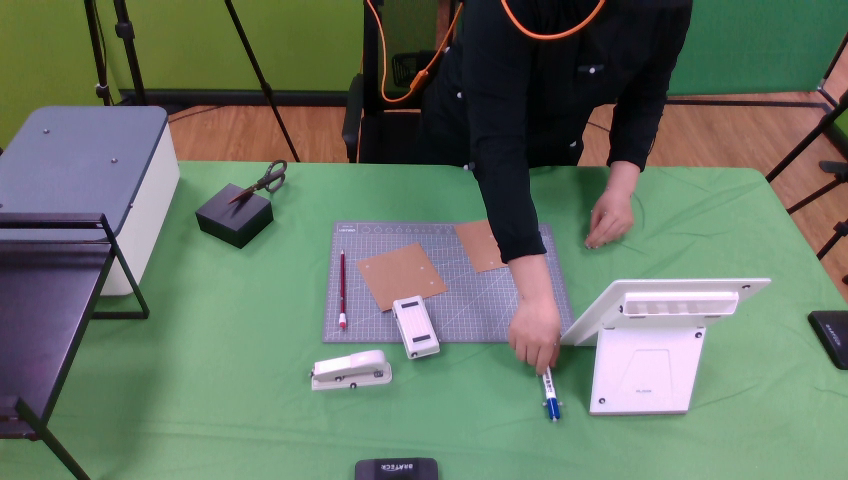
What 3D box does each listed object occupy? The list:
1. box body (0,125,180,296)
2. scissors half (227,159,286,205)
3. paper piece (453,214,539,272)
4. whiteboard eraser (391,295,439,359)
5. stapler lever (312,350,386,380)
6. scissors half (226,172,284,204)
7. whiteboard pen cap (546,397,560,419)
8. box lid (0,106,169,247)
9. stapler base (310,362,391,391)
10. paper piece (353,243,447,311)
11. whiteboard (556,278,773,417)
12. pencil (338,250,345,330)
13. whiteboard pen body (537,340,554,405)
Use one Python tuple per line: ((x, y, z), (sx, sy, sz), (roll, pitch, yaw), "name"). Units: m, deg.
((-0.628, -0.075, 1.122), (0.254, 0.161, 0.361), (1, 46, -4), "box body")
((-0.336, -0.117, 1.218), (0.013, 0.040, 0.175), (28, 47, 12), "scissors half")
((0.142, 0.003, 1.213), (0.135, 0.004, 0.135), (-11, 48, -14), "paper piece")
((-0.016, 0.150, 1.034), (0.056, 0.042, 0.112), (-10, 48, -15), "whiteboard eraser")
((-0.120, 0.198, 0.963), (0.118, 0.040, 0.026), (-4, 44, -8), "stapler lever")
((-0.340, -0.101, 1.230), (0.013, 0.040, 0.175), (24, 29, 16), "scissors half")
((0.204, 0.266, 0.960), (0.018, 0.018, 0.033), (-1, 48, -5), "whiteboard pen cap")
((-0.624, -0.125, 1.067), (0.263, 0.015, 0.369), (0, 46, -3), "box lid")
((-0.119, 0.215, 0.981), (0.131, 0.024, 0.041), (-5, 44, -7), "stapler base")
((-0.046, 0.066, 1.137), (0.136, 0.009, 0.137), (-14, 47, -22), "paper piece")
((0.347, 0.174, 0.903), (0.217, 0.306, 0.143), (1, 65, -4), "whiteboard")
((-0.152, 0.086, 1.108), (0.012, 0.012, 0.192), (-2, 44, -7), "pencil")
((0.202, 0.228, 1.004), (0.017, 0.017, 0.140), (2, 50, -3), "whiteboard pen body")
